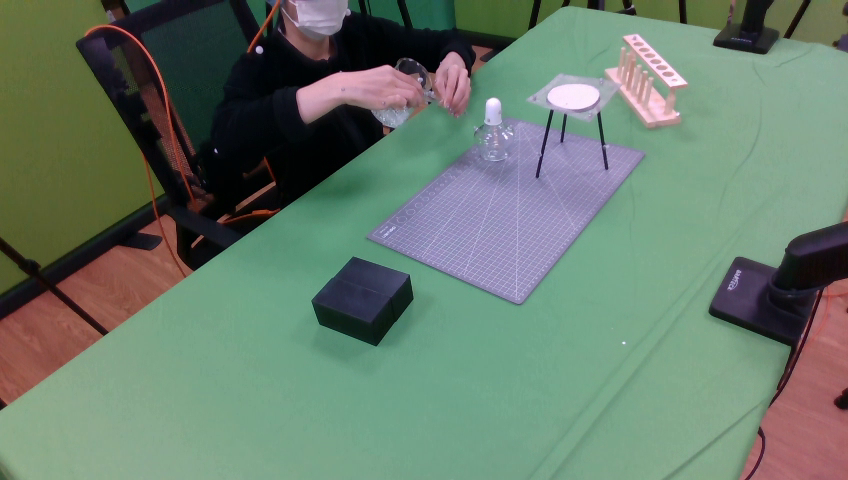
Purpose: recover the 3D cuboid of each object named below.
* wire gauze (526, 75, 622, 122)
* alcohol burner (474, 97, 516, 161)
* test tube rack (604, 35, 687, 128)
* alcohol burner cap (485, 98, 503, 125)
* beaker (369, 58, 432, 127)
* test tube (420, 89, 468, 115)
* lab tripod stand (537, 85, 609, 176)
[{"bbox_3d":[0.255,-0.248,1.030,0.124,0.011,0.122,24,51,33],"label":"wire gauze"},{"bbox_3d":[0.131,-0.208,1.121,0.078,0.119,0.077,-6,40,5],"label":"alcohol burner"},{"bbox_3d":[0.447,-0.330,1.241,0.067,0.085,0.241,-9,41,-2],"label":"test tube rack"},{"bbox_3d":[0.126,-0.234,1.097,0.034,0.048,0.033,-3,39,3],"label":"alcohol burner cap"},{"bbox_3d":[-0.041,-0.249,1.043,0.073,0.084,0.100,17,63,38],"label":"beaker"},{"bbox_3d":[0.041,-0.260,1.147,0.017,0.017,0.151,25,12,32],"label":"test tube"},{"bbox_3d":[0.259,-0.192,1.068,0.148,0.132,0.147,-4,42,4],"label":"lab tripod stand"}]
